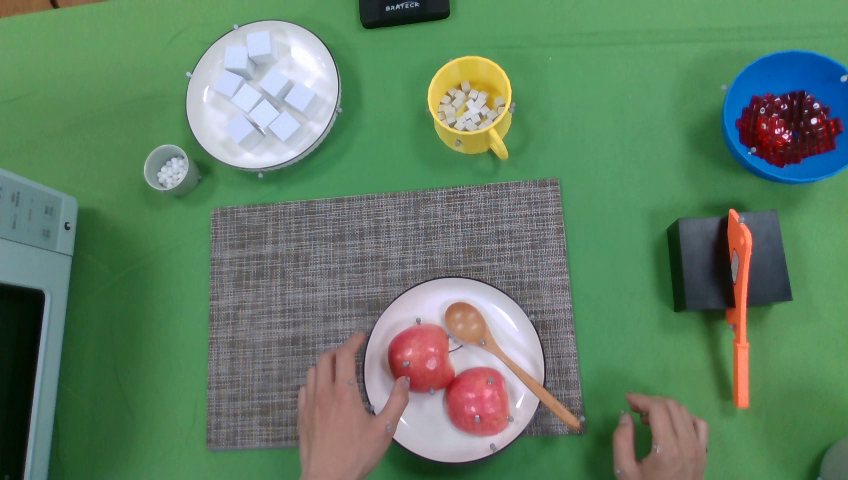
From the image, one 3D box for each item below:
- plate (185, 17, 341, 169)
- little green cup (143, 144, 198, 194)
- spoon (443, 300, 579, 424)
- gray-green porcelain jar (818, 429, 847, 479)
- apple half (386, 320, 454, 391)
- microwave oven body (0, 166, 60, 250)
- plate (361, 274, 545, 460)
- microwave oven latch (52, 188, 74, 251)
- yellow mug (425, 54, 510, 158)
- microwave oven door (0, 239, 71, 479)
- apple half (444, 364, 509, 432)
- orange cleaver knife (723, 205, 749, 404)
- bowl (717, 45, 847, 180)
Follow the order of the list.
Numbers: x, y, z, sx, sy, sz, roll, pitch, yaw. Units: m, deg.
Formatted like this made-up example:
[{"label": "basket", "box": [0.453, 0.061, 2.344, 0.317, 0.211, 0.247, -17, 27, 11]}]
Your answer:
[{"label": "plate", "box": [-0.208, -0.190, 0.797, 0.207, 0.039, 0.206, -1, 79, 8]}, {"label": "little green cup", "box": [-0.329, -0.090, 0.793, 0.061, 0.039, 0.061, -1, 80, 6]}, {"label": "spoon", "box": [0.095, 0.136, 0.677, 0.041, 0.022, 0.192, -42, 64, -13]}, {"label": "gray-green porcelain jar", "box": [0.456, 0.235, 0.581, 0.106, 0.127, 0.105, -2, 78, 8]}, {"label": "apple half", "box": [-0.007, 0.131, 0.690, 0.074, 0.053, 0.080, -8, 78, 9]}, {"label": "microwave oven body", "box": [-0.635, 0.133, 0.675, 0.326, 0.261, 0.440, -1, 80, 7]}, {"label": "plate", "box": [0.033, 0.143, 0.697, 0.209, 0.038, 0.208, -1, 79, 7]}, {"label": "microwave oven latch", "box": [-0.475, -0.026, 0.783, 0.030, 0.029, 0.079, 0, 80, 7]}, {"label": "yellow mug", "box": [0.063, -0.155, 0.740, 0.100, 0.064, 0.130, -33, 78, 0]}, {"label": "microwave oven door", "box": [-0.491, 0.169, 0.643, 0.039, 0.245, 0.354, -2, 79, 8]}, {"label": "apple half", "box": [0.058, 0.179, 0.681, 0.081, 0.033, 0.081, -2, 76, 8]}, {"label": "orange cleaver knife", "box": [0.333, 0.070, 0.652, 0.012, 0.077, 0.212, -3, 102, 11]}, {"label": "bowl", "box": [0.400, -0.131, 0.683, 0.151, 0.077, 0.150, -1, 79, 8]}]
